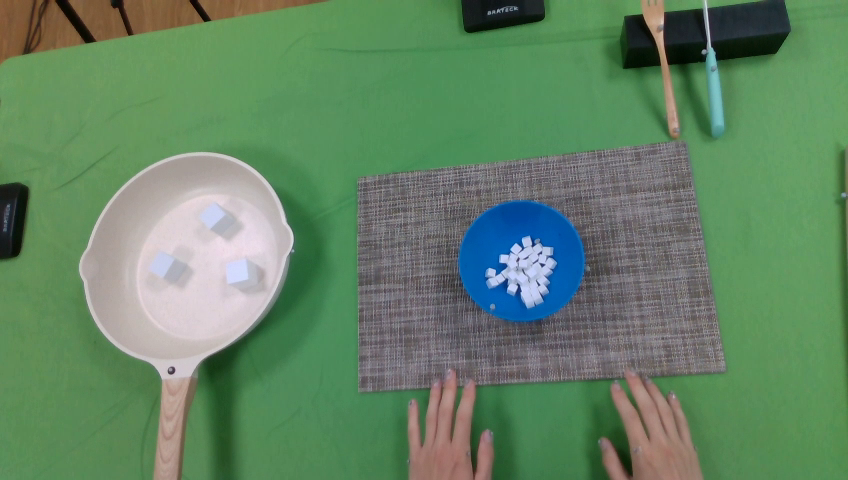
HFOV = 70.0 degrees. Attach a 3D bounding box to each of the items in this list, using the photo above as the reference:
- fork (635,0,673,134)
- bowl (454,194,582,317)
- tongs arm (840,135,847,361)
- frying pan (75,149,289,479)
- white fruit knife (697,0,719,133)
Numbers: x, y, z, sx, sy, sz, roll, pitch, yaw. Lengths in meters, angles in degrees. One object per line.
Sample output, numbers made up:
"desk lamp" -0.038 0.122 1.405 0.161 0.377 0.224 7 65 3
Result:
"fork" 0.305 -0.242 0.797 0.028 0.018 0.207 -12 93 2
"bowl" 0.117 0.027 0.753 0.151 0.077 0.150 -3 74 9
"tongs arm" 0.509 0.057 0.708 0.028 0.028 0.385 4 75 9
"frying pan" -0.318 0.113 0.793 0.306 0.103 0.484 -6 65 9
"white fruit knife" 0.363 -0.244 0.787 0.016 0.027 0.207 -7 90 14
